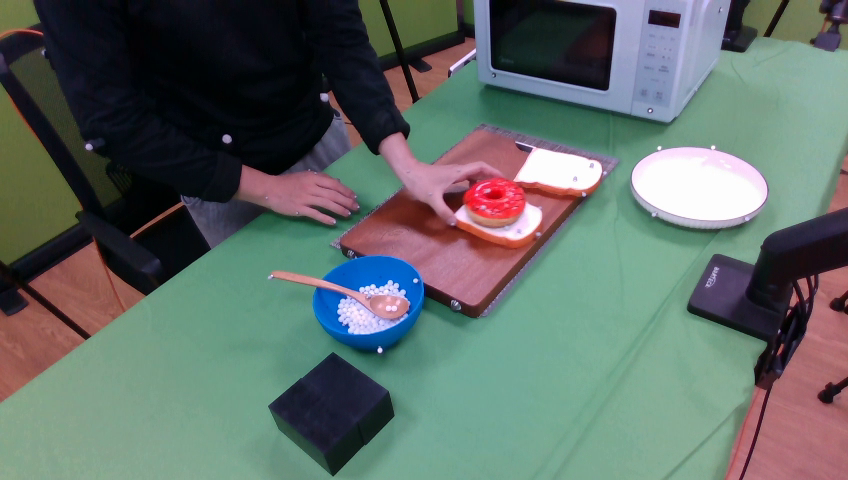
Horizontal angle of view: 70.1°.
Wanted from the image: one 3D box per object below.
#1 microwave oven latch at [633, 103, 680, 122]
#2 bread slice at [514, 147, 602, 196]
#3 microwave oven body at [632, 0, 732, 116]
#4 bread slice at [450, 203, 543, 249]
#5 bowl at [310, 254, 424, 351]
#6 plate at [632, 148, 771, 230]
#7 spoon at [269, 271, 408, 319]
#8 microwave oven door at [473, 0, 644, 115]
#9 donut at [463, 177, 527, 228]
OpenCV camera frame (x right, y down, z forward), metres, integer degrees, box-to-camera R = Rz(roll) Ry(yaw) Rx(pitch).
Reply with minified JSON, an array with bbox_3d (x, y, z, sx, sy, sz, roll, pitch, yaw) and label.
[{"bbox_3d":[0.444,-0.249,1.157,0.078,0.029,0.030,21,49,30],"label":"microwave oven latch"},{"bbox_3d":[0.233,-0.115,1.026,0.133,0.018,0.107,13,45,20],"label":"bread slice"},{"bbox_3d":[0.377,-0.462,1.267,0.438,0.261,0.327,21,49,30],"label":"microwave oven body"},{"bbox_3d":[0.121,-0.034,0.951,0.130,0.019,0.105,20,49,29],"label":"bread slice"},{"bbox_3d":[-0.071,0.098,0.821,0.151,0.077,0.150,-4,40,4],"label":"bowl"},{"bbox_3d":[0.447,-0.081,0.988,0.207,0.039,0.206,-4,40,4],"label":"plate"},{"bbox_3d":[-0.116,0.069,0.813,0.194,0.021,0.041,18,39,1],"label":"spoon"},{"bbox_3d":[0.257,-0.396,1.199,0.353,0.245,0.039,21,48,29],"label":"microwave oven door"},{"bbox_3d":[0.110,-0.058,0.932,0.099,0.048,0.098,-3,42,3],"label":"donut"}]
